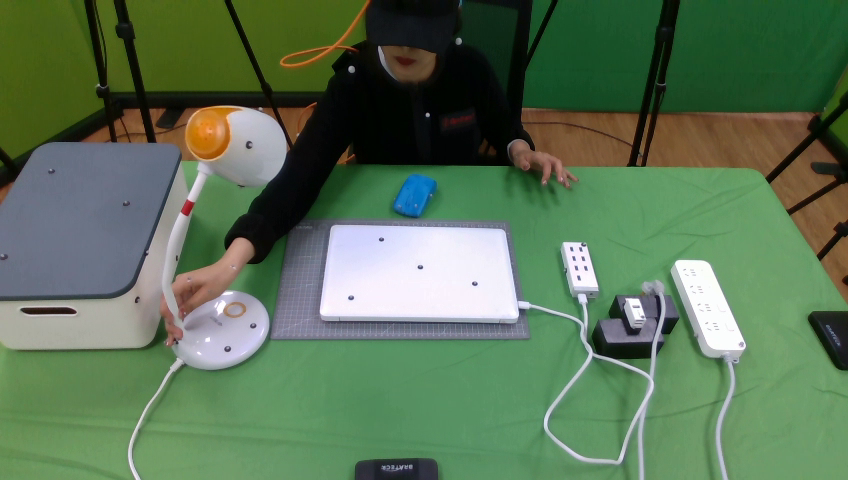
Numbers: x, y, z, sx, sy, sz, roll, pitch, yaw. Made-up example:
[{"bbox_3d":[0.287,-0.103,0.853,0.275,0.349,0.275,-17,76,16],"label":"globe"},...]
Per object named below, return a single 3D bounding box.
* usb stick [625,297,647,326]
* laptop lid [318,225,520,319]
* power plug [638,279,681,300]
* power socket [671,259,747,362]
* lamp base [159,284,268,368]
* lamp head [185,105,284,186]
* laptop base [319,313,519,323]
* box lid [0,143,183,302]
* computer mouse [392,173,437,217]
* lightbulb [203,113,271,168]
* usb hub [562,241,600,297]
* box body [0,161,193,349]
[{"bbox_3d":[0.360,0.117,1.034,0.021,0.027,0.059,-2,44,-2],"label":"usb stick"},{"bbox_3d":[-0.009,0.053,1.130,0.357,0.013,0.240,2,43,-2],"label":"laptop lid"},{"bbox_3d":[0.434,0.099,1.119,0.073,0.053,0.035,34,38,-15],"label":"power plug"},{"bbox_3d":[0.517,0.119,1.108,0.072,0.033,0.225,1,46,-2],"label":"power socket"},{"bbox_3d":[-0.347,0.102,0.963,0.160,0.181,0.178,24,51,18],"label":"lamp base"},{"bbox_3d":[-0.268,-0.132,0.825,0.112,0.112,0.123,19,8,15],"label":"lamp head"},{"bbox_3d":[-0.009,0.063,1.137,0.354,0.023,0.234,1,42,-3],"label":"laptop base"},{"bbox_3d":[-0.567,-0.045,0.999,0.263,0.015,0.369,-1,46,-4],"label":"box lid"},{"bbox_3d":[-0.018,-0.099,1.282,0.062,0.041,0.117,20,52,12],"label":"computer mouse"},{"bbox_3d":[-0.266,-0.144,0.858,0.059,0.108,0.059,-18,55,29],"label":"lightbulb"},{"bbox_3d":[0.300,0.055,1.161,0.049,0.025,0.124,2,46,-3],"label":"usb hub"},{"bbox_3d":[-0.570,0.006,1.054,0.254,0.161,0.361,-1,46,-4],"label":"box body"}]
